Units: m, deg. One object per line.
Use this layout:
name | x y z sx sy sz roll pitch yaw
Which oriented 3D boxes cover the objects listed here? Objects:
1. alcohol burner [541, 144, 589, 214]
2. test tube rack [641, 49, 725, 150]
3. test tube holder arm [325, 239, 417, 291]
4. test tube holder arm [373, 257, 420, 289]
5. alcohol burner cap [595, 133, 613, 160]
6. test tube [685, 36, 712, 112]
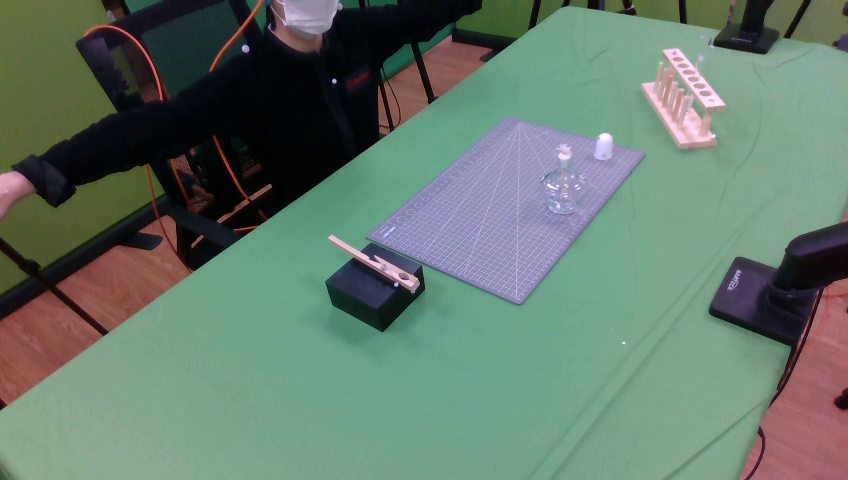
alcohol burner | 0.229 -0.102 0.983 0.078 0.119 0.077 -6 41 5
test tube rack | 0.495 -0.279 1.175 0.067 0.085 0.241 -5 41 3
test tube holder arm | -0.080 0.034 0.875 0.177 0.015 0.013 23 50 32
test tube holder arm | -0.042 0.045 0.854 0.087 0.015 0.010 24 51 33
alcohol burner cap | 0.330 -0.172 1.104 0.034 0.048 0.033 -5 41 5
test tube | 0.509 -0.307 1.129 0.017 0.151 0.017 -1 43 2
